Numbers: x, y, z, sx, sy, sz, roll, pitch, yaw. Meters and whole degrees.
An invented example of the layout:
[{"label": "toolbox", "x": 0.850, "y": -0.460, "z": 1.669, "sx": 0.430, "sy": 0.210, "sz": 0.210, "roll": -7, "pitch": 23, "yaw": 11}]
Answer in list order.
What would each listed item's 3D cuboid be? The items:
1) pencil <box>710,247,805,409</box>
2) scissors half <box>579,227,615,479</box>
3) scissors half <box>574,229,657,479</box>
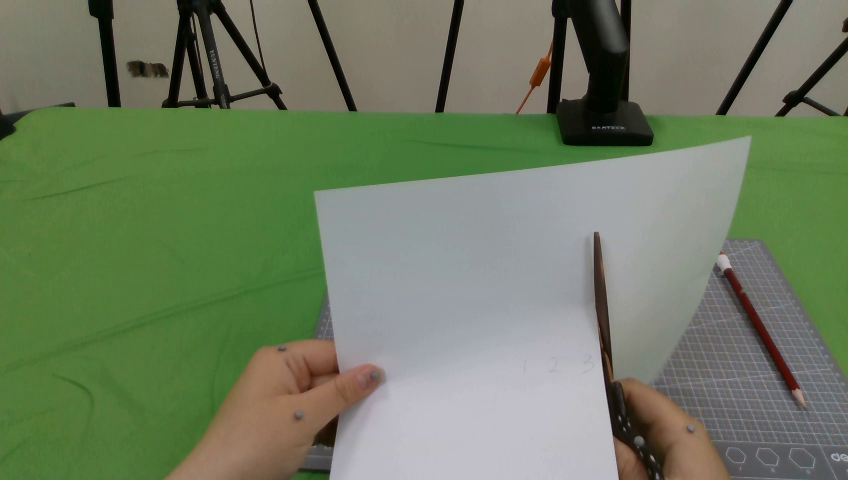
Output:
[{"label": "pencil", "x": 0.296, "y": 0.071, "z": 0.545, "sx": 0.012, "sy": 0.012, "sz": 0.192, "roll": -1, "pitch": 39, "yaw": 1}, {"label": "scissors half", "x": 0.101, "y": 0.078, "z": 0.360, "sx": 0.013, "sy": 0.176, "sz": 0.040, "roll": -8, "pitch": 13, "yaw": -10}, {"label": "scissors half", "x": 0.104, "y": 0.076, "z": 0.337, "sx": 0.013, "sy": 0.040, "sz": 0.174, "roll": -8, "pitch": 72, "yaw": -5}]
